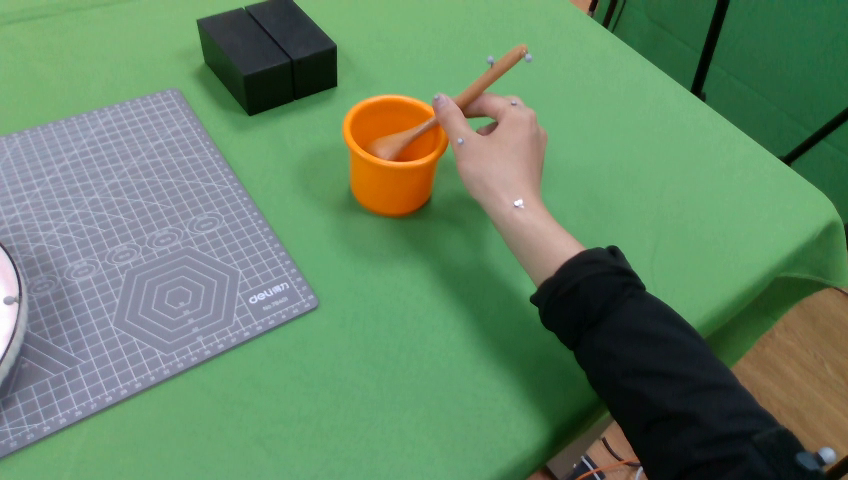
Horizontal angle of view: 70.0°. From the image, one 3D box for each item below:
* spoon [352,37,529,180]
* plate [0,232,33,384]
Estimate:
[{"bbox_3d":[0.008,-0.113,0.523,0.193,0.022,0.041,-31,55,18],"label":"spoon"},{"bbox_3d":[-0.372,0.067,0.400,0.209,0.038,0.207,5,53,-6],"label":"plate"}]
